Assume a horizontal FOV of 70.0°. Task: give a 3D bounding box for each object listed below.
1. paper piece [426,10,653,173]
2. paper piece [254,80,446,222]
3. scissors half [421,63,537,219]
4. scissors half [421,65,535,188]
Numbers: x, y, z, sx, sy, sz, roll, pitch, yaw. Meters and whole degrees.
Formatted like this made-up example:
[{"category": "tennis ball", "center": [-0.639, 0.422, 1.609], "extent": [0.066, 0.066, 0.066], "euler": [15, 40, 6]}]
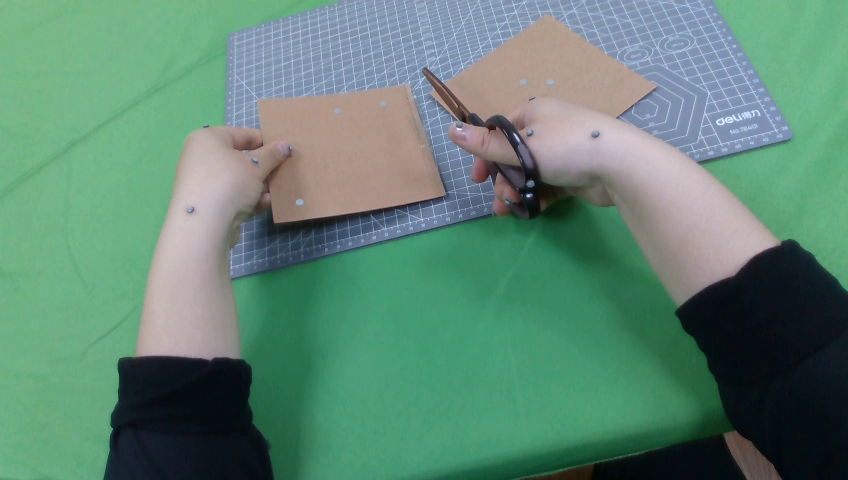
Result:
[{"category": "paper piece", "center": [0.093, -0.129, 0.509], "extent": [0.135, 0.004, 0.134], "euler": [-37, 59, -8]}, {"category": "paper piece", "center": [-0.065, -0.080, 0.500], "extent": [0.138, 0.009, 0.134], "euler": [-11, 53, -8]}, {"category": "scissors half", "center": [0.036, -0.081, 0.455], "extent": [0.013, 0.040, 0.173], "euler": [-26, 61, -6]}, {"category": "scissors half", "center": [0.032, -0.093, 0.438], "extent": [0.013, 0.040, 0.173], "euler": [-23, 42, -11]}]
